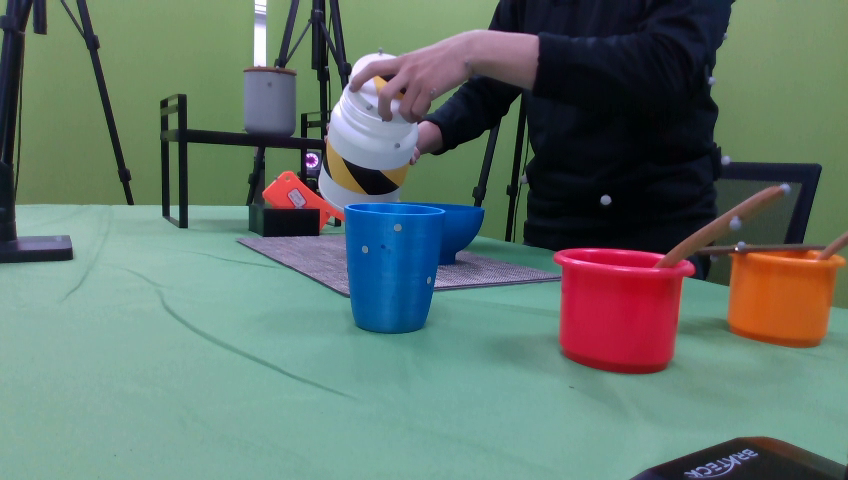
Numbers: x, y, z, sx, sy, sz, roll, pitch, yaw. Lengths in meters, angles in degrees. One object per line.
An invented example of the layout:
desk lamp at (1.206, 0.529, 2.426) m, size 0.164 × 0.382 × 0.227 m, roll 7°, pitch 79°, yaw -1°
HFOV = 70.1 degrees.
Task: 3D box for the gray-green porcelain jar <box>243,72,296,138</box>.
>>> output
gray-green porcelain jar at (-0.322, -0.279, 1.263) m, size 0.106 × 0.126 × 0.106 m, roll 3°, pitch 8°, yaw 0°

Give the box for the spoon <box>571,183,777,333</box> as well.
spoon at (0.161, 0.020, 0.413) m, size 0.042 × 0.021 × 0.193 m, roll 1°, pitch -36°, yaw -24°

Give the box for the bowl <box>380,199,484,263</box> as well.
bowl at (0.008, -0.012, 0.842) m, size 0.151 × 0.077 × 0.151 m, roll 2°, pitch 8°, yaw 0°

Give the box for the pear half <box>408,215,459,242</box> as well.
pear half at (0.011, -0.019, 0.848) m, size 0.070 × 0.031 × 0.088 m, roll 5°, pitch 12°, yaw 32°

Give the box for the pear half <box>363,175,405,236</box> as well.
pear half at (-0.064, -0.061, 1.077) m, size 0.055 × 0.110 × 0.077 m, roll 9°, pitch 14°, yaw 39°

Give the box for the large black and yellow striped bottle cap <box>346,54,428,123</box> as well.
large black and yellow striped bottle cap at (-0.050, -0.213, 0.843) m, size 0.115 × 0.114 × 0.019 m, roll -1°, pitch -31°, yaw -22°

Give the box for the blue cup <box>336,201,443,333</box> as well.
blue cup at (-0.029, 0.021, 0.507) m, size 0.093 × 0.100 × 0.092 m, roll 3°, pitch 9°, yaw 0°

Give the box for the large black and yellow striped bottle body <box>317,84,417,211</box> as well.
large black and yellow striped bottle body at (-0.085, -0.141, 0.919) m, size 0.131 × 0.184 × 0.130 m, roll 11°, pitch 45°, yaw -11°

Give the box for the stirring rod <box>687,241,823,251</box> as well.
stirring rod at (0.289, 0.005, 0.525) m, size 0.177 × 0.006 × 0.014 m, roll -1°, pitch 5°, yaw -26°

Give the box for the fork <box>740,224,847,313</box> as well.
fork at (0.323, 0.013, 0.485) m, size 0.028 × 0.018 × 0.207 m, roll 8°, pitch -37°, yaw -6°

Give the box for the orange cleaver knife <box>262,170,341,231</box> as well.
orange cleaver knife at (-0.201, -0.057, 1.136) m, size 0.212 × 0.077 × 0.012 m, roll 31°, pitch -4°, yaw -31°

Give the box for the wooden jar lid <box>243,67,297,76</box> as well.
wooden jar lid at (-0.319, -0.342, 1.254) m, size 0.108 × 0.020 × 0.108 m, roll 3°, pitch 8°, yaw 0°
